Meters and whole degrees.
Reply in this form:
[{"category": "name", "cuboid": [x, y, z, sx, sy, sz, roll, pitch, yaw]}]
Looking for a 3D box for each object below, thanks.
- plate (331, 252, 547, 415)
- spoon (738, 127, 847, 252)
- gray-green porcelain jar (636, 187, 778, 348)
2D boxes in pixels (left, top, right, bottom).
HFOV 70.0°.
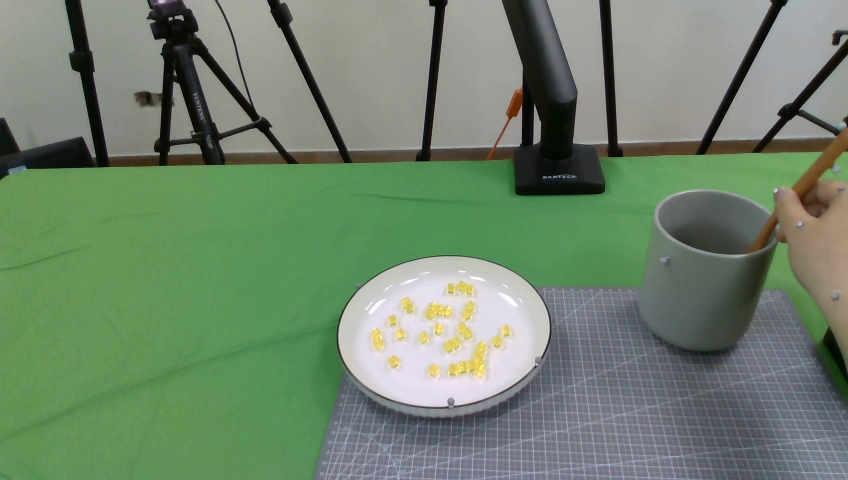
[{"category": "plate", "cuboid": [0.015, 0.090, 0.596, 0.207, 0.039, 0.205, -3, 37, 2]}, {"category": "spoon", "cuboid": [0.297, -0.015, 0.515, 0.021, 0.195, 0.041, 10, 45, 0]}, {"category": "gray-green porcelain jar", "cuboid": [0.261, 0.030, 0.574, 0.106, 0.127, 0.105, -3, 38, 3]}]
